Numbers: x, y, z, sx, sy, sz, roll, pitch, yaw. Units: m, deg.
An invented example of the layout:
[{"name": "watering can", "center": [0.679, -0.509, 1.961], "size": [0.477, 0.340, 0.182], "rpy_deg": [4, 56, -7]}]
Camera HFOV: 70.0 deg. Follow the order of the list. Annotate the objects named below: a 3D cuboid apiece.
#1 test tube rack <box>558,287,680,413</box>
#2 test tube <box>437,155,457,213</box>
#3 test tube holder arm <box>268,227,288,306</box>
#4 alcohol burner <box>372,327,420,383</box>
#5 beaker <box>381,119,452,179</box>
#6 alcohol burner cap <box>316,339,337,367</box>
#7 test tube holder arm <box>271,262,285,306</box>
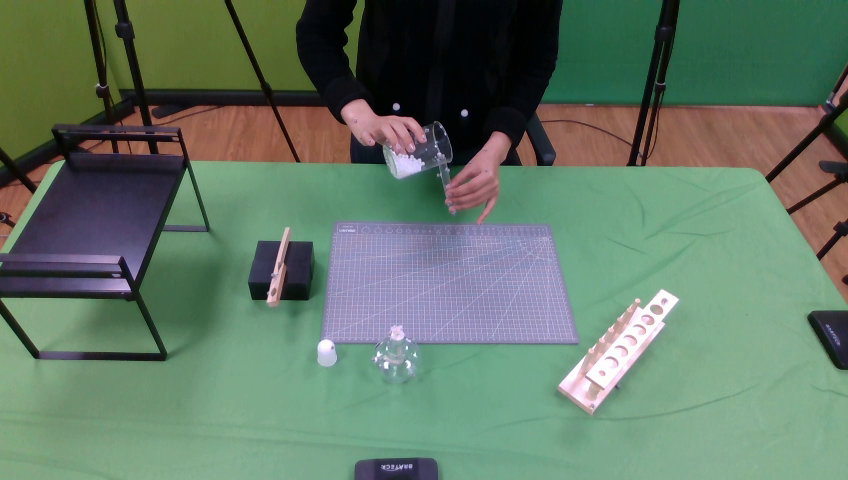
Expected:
[{"name": "test tube rack", "center": [0.326, 0.170, 1.009], "size": [0.066, 0.085, 0.242], "rpy_deg": [36, 54, 26]}, {"name": "test tube", "center": [0.043, -0.099, 1.110], "size": [0.017, 0.151, 0.017], "rpy_deg": [-6, 53, 8]}, {"name": "test tube holder arm", "center": [-0.258, 0.043, 1.071], "size": [0.013, 0.015, 0.177], "rpy_deg": [-6, 46, 2]}, {"name": "alcohol burner", "center": [-0.044, 0.175, 0.961], "size": [0.078, 0.120, 0.077], "rpy_deg": [1, 48, -1]}, {"name": "beaker", "center": [-0.014, -0.148, 1.010], "size": [0.100, 0.084, 0.073], "rpy_deg": [-22, 57, -13]}, {"name": "alcohol burner cap", "center": [-0.161, 0.182, 0.995], "size": [0.034, 0.048, 0.033], "rpy_deg": [2, 47, -1]}, {"name": "test tube holder arm", "center": [-0.250, 0.075, 1.039], "size": [0.010, 0.015, 0.087], "rpy_deg": [-6, 46, 3]}]
